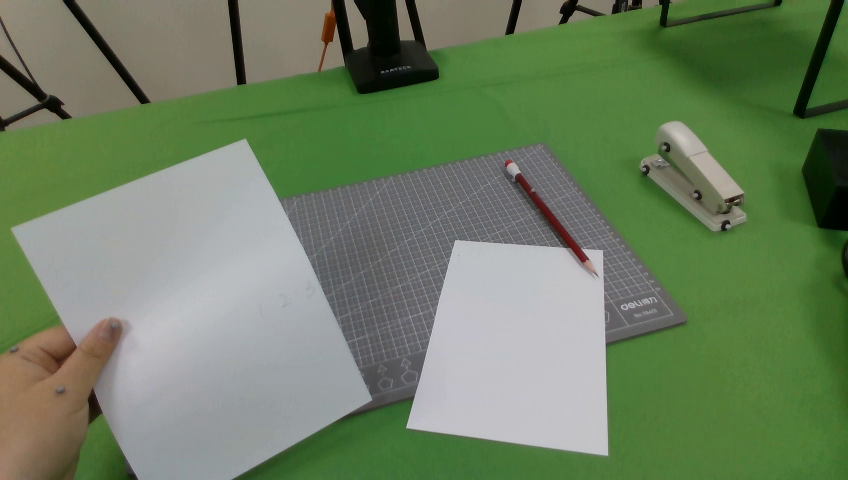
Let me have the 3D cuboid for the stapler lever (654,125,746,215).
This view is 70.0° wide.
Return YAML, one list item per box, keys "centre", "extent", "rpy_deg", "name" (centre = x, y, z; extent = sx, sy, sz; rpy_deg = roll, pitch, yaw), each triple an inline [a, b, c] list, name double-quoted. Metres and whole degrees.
- centre: [0.274, -0.074, 0.607]
  extent: [0.027, 0.040, 0.116]
  rpy_deg: [-19, 44, -11]
  name: "stapler lever"

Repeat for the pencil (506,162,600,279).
- centre: [0.126, -0.025, 0.612]
  extent: [0.012, 0.012, 0.191]
  rpy_deg: [-16, 44, -12]
  name: "pencil"

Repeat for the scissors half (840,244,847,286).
- centre: [0.396, -0.028, 0.531]
  extent: [0.040, 0.013, 0.174]
  rpy_deg: [12, 72, 27]
  name: "scissors half"

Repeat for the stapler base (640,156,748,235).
- centre: [0.275, -0.056, 0.625]
  extent: [0.041, 0.025, 0.129]
  rpy_deg: [-18, 44, -11]
  name: "stapler base"
